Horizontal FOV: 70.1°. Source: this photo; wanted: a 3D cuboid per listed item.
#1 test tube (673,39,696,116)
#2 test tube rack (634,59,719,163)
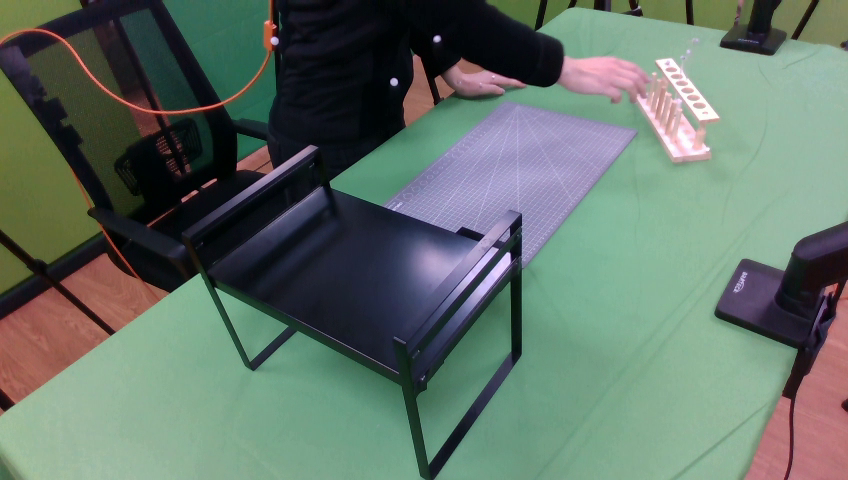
[{"bbox_3d":[0.482,-0.300,1.129,0.017,0.151,0.017,-2,39,2],"label":"test tube"},{"bbox_3d":[0.470,-0.250,1.148,0.067,0.085,0.241,-6,40,3],"label":"test tube rack"}]
